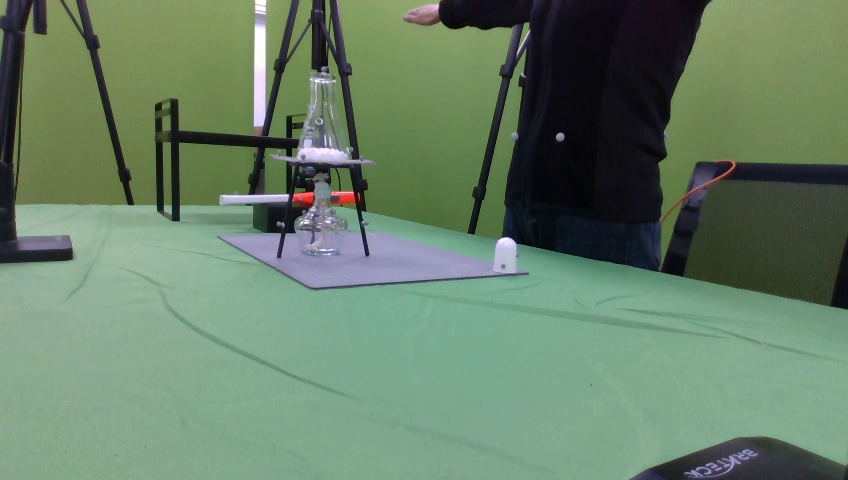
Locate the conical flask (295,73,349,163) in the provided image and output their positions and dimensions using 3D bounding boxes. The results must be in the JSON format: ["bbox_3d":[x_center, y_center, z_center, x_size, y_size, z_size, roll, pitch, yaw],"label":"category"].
[{"bbox_3d":[-0.143,-0.170,0.851,0.075,0.122,0.075,2,9,0],"label":"conical flask"}]

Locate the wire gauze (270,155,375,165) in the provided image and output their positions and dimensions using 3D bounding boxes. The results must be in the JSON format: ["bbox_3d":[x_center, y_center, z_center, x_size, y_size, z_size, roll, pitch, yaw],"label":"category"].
[{"bbox_3d":[-0.146,-0.112,0.860,0.122,0.011,0.124,0,6,-29],"label":"wire gauze"}]

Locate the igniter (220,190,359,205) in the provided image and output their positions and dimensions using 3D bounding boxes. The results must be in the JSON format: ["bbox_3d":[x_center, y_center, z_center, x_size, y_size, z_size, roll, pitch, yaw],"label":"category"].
[{"bbox_3d":[-0.246,-0.081,1.158,0.278,0.025,0.057,-5,7,-33],"label":"igniter"}]

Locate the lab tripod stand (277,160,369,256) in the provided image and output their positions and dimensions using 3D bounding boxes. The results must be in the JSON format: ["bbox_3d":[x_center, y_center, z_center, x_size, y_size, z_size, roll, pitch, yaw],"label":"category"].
[{"bbox_3d":[-0.149,-0.046,0.861,0.148,0.131,0.148,3,9,0],"label":"lab tripod stand"}]

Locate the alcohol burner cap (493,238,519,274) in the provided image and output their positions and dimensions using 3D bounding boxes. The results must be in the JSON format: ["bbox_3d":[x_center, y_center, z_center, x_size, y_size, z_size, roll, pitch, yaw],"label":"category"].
[{"bbox_3d":[0.107,0.021,0.784,0.034,0.048,0.034,0,7,0],"label":"alcohol burner cap"}]

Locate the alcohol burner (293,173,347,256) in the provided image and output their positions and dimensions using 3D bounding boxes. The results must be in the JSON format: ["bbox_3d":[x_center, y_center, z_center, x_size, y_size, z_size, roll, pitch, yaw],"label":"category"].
[{"bbox_3d":[-0.148,-0.037,0.868,0.078,0.119,0.078,4,8,0],"label":"alcohol burner"}]
